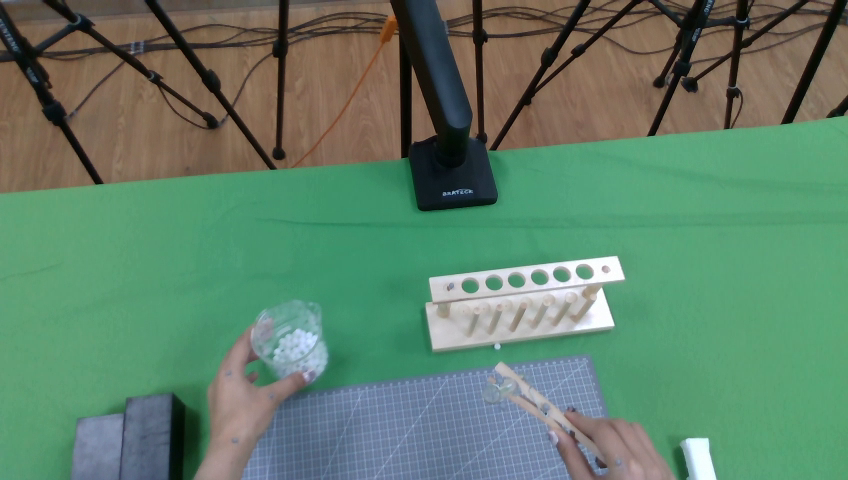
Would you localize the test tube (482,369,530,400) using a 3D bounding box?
[{"bbox_3d":[0.078,0.131,0.557,0.017,0.151,0.017,-3,82,19],"label":"test tube"}]

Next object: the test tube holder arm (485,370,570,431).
[{"bbox_3d":[0.096,0.147,0.556,0.087,0.015,0.010,28,98,14],"label":"test tube holder arm"}]

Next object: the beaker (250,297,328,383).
[{"bbox_3d":[-0.147,0.116,0.692,0.073,0.101,0.084,39,67,17],"label":"beaker"}]

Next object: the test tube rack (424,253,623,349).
[{"bbox_3d":[0.126,0.078,0.772,0.243,0.086,0.066,-6,61,-7],"label":"test tube rack"}]

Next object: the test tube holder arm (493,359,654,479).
[{"bbox_3d":[0.135,0.167,0.544,0.177,0.015,0.013,36,101,13],"label":"test tube holder arm"}]

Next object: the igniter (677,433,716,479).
[{"bbox_3d":[0.326,0.353,0.661,0.057,0.025,0.274,5,59,-13],"label":"igniter"}]
